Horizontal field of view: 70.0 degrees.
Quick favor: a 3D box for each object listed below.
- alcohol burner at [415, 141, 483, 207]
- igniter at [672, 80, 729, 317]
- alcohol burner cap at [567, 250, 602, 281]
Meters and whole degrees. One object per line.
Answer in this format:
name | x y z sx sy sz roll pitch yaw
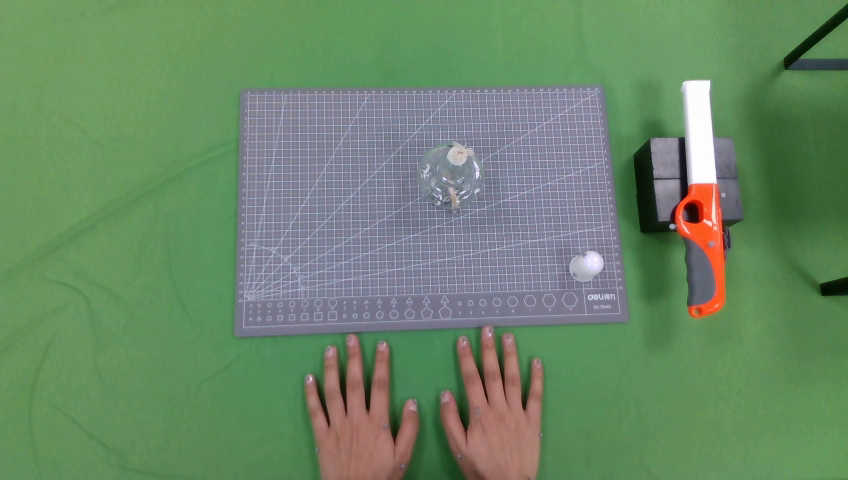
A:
alcohol burner | 0.030 -0.079 0.672 0.078 0.119 0.077 1 77 -5
igniter | 0.309 -0.051 0.683 0.057 0.025 0.275 1 77 9
alcohol burner cap | 0.186 0.028 0.695 0.034 0.048 0.033 1 77 -3
